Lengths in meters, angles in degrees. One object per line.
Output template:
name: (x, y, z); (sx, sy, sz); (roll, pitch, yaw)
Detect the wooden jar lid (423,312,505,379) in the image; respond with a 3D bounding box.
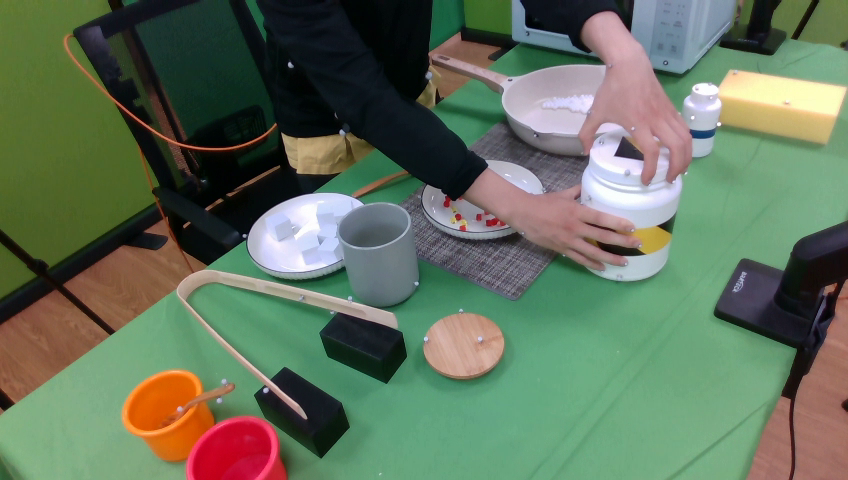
wooden jar lid: (0.053, 0.142, 0.800); (0.108, 0.021, 0.108); (-5, 39, 4)

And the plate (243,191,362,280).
plate: (-0.187, -0.005, 0.992); (0.207, 0.039, 0.206); (-3, 41, 3)

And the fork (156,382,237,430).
fork: (-0.262, 0.189, 0.690); (0.018, 0.206, 0.028); (49, 43, -7)

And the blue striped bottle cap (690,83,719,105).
blue striped bottle cap: (0.482, -0.251, 1.038); (0.044, 0.021, 0.044); (-5, 40, 5)

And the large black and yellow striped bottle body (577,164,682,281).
large black and yellow striped bottle body: (0.290, -0.047, 0.860); (0.131, 0.185, 0.130); (-4, 41, 4)

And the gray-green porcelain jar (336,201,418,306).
gray-green porcelain jar: (-0.064, 0.024, 0.872); (0.106, 0.127, 0.105); (-4, 41, 4)

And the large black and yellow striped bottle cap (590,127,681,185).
large black and yellow striped bottle cap: (0.279, -0.114, 0.803); (0.115, 0.019, 0.114); (-5, 42, 5)

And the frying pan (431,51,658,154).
frying pan: (0.216, -0.302, 1.223); (0.484, 0.103, 0.308); (29, 50, 24)

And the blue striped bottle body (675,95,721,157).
blue striped bottle body: (0.486, -0.213, 1.072); (0.063, 0.121, 0.063); (-4, 41, 4)

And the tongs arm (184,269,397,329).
tongs arm: (-0.202, 0.085, 0.847); (0.382, 0.027, 0.051); (11, 45, 35)

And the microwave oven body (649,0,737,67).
microwave oven body: (0.475, -0.602, 1.411); (0.438, 0.261, 0.327); (23, 50, 32)

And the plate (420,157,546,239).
plate: (0.100, -0.067, 1.017); (0.209, 0.038, 0.208); (-4, 41, 4)

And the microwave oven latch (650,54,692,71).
microwave oven latch: (0.530, -0.386, 1.301); (0.078, 0.029, 0.030); (24, 50, 32)

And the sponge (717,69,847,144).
sponge: (0.663, -0.256, 1.142); (0.205, 0.061, 0.118); (19, 47, 28)

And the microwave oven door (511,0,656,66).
microwave oven door: (0.351, -0.539, 1.348); (0.353, 0.245, 0.039); (24, 50, 31)

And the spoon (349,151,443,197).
spoon: (-0.051, -0.123, 1.120); (0.194, 0.022, 0.041); (-22, 60, -18)

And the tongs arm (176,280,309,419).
tongs arm: (-0.254, 0.133, 0.801); (0.028, 0.028, 0.384); (-41, 40, -23)
